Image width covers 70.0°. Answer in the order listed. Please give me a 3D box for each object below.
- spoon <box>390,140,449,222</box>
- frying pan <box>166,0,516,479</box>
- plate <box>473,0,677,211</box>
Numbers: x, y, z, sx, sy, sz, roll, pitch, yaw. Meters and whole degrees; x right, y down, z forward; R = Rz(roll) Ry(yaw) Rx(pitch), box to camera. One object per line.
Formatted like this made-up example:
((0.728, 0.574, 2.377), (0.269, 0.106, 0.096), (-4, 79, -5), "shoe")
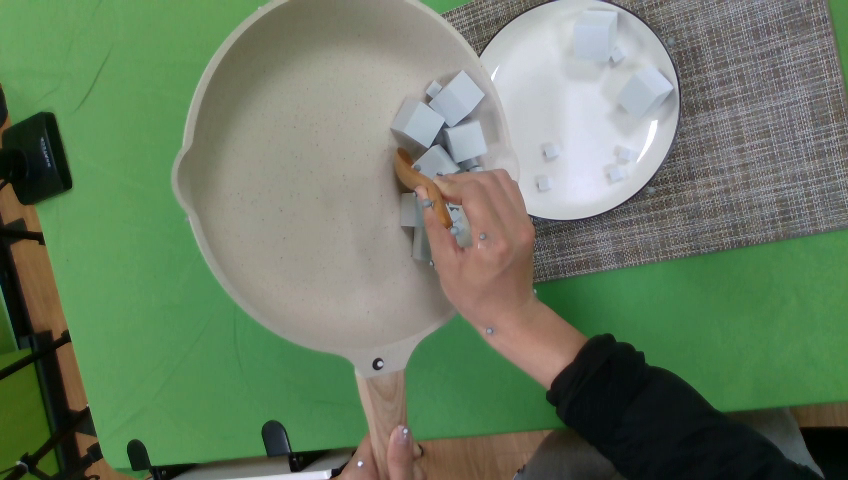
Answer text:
((-0.004, -0.049, 0.479), (0.021, 0.192, 0.042), (-29, 111, -3), "spoon")
((-0.047, 0.044, 0.508), (0.102, 0.308, 0.487), (-5, 91, 57), "frying pan")
((0.135, -0.133, 0.589), (0.206, 0.039, 0.208), (4, 100, 23), "plate")
